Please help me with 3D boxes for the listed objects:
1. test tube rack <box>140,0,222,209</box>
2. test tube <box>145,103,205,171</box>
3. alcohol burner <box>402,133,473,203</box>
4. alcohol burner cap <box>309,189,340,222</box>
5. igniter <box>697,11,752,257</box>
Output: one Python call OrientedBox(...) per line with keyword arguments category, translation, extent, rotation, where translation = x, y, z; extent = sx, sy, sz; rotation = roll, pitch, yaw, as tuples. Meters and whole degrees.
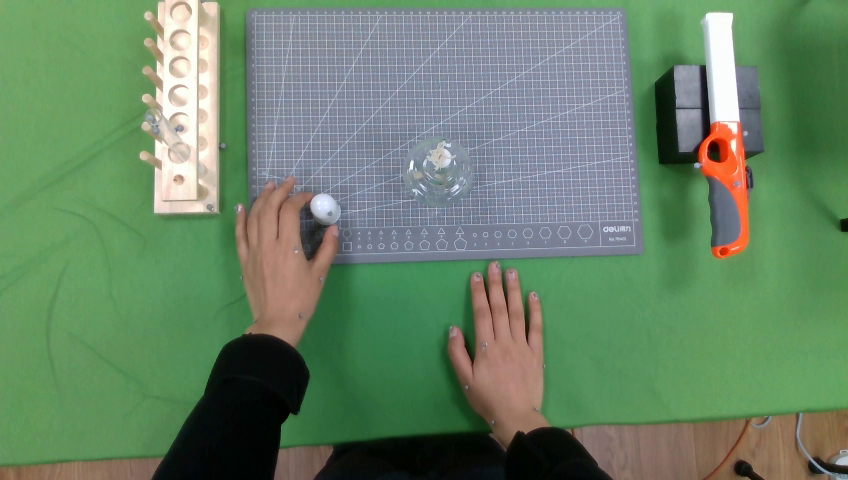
OrientedBox(category="test tube rack", translation=(-0.262, -0.159, 0.645), extent=(0.067, 0.085, 0.241), rotation=(-1, 84, -4))
OrientedBox(category="test tube", translation=(-0.239, -0.096, 0.591), extent=(0.017, 0.150, 0.017), rotation=(1, 78, -5))
OrientedBox(category="alcohol burner", translation=(0.015, -0.079, 0.640), extent=(0.078, 0.119, 0.077), rotation=(0, 85, -3))
OrientedBox(category="alcohol burner cap", translation=(-0.110, -0.040, 0.663), extent=(0.034, 0.048, 0.034), rotation=(1, 83, -4))
OrientedBox(category="igniter", translation=(0.328, -0.118, 0.667), extent=(0.057, 0.025, 0.275), rotation=(1, 83, -1))
